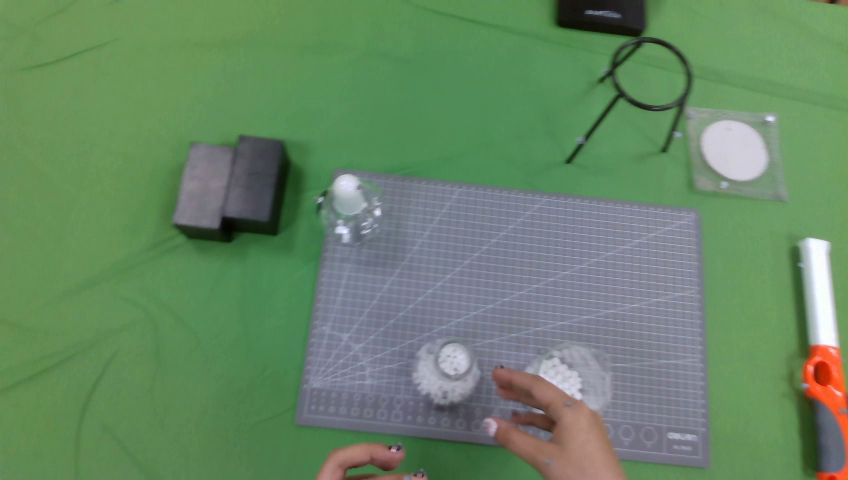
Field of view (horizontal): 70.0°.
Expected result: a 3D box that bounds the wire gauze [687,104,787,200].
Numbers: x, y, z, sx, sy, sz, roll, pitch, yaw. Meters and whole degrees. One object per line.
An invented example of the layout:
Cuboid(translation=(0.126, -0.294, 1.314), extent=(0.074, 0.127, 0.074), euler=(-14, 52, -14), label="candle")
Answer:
Cuboid(translation=(0.399, -0.115, 0.769), extent=(0.125, 0.011, 0.121), euler=(6, 74, -4), label="wire gauze")

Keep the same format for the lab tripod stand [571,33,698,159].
Cuboid(translation=(0.244, -0.161, 0.707), extent=(0.148, 0.132, 0.147), euler=(1, 75, -3), label="lab tripod stand")

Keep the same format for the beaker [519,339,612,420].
Cuboid(translation=(0.143, 0.144, 0.626), extent=(0.084, 0.101, 0.073), euler=(-35, 78, -13), label="beaker")

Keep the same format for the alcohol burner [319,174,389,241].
Cuboid(translation=(-0.078, -0.042, 0.660), extent=(0.078, 0.119, 0.077), euler=(0, 73, -1), label="alcohol burner")

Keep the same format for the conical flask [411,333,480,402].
Cuboid(translation=(0.026, 0.124, 0.613), extent=(0.075, 0.122, 0.075), euler=(1, 73, -2), label="conical flask")

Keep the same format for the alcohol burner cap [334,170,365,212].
Cuboid(translation=(-0.077, -0.054, 0.626), extent=(0.034, 0.048, 0.033), euler=(3, 65, -5), label="alcohol burner cap")

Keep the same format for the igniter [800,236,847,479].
Cuboid(translation=(0.455, 0.129, 0.690), extent=(0.057, 0.025, 0.275), euler=(10, 73, -12), label="igniter")

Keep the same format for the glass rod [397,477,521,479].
Cuboid(translation=(0.019, 0.194, 0.482), extent=(0.201, 0.008, 0.008), euler=(21, 66, -43), label="glass rod")
